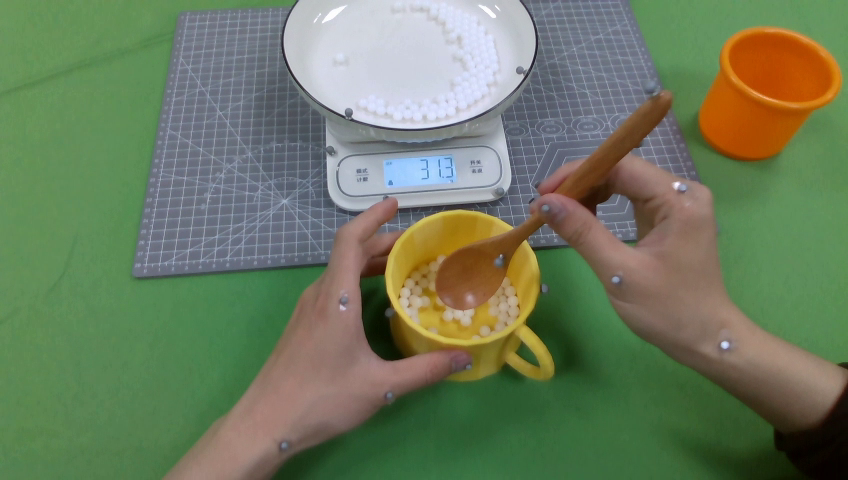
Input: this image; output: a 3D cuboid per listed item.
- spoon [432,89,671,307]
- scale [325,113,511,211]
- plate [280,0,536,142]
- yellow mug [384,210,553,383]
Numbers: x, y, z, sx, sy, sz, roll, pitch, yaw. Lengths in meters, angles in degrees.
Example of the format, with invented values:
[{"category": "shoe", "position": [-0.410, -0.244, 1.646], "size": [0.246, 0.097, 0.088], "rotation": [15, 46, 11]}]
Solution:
[{"category": "spoon", "position": [0.065, -0.014, 0.346], "size": [0.042, 0.194, 0.021], "rotation": [39, 45, -6]}, {"category": "scale", "position": [-0.011, -0.117, 0.520], "size": [0.149, 0.032, 0.199], "rotation": [-5, 60, -3]}, {"category": "plate", "position": [-0.013, -0.159, 0.507], "size": [0.209, 0.038, 0.207], "rotation": [1, 59, -1]}, {"category": "yellow mug", "position": [0.035, 0.047, 0.407], "size": [0.130, 0.064, 0.100], "rotation": [41, 67, 20]}]
